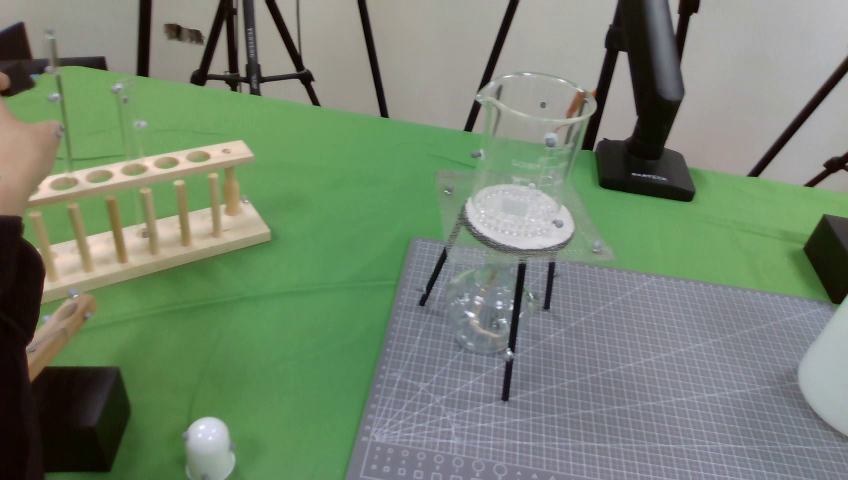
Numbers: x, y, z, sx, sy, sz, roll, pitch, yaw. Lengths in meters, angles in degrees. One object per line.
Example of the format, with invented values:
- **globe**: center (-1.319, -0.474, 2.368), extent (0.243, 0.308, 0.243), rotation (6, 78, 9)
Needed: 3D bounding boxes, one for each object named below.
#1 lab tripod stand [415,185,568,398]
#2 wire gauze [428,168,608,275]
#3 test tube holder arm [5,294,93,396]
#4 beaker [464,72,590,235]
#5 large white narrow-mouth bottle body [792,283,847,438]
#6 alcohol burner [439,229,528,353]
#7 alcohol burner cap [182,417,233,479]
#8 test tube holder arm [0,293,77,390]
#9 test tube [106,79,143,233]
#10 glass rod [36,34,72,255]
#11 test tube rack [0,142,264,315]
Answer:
- **lab tripod stand**: center (0.064, 0.034, 0.508), extent (0.148, 0.132, 0.147), rotation (6, 38, -4)
- **wire gauze**: center (0.067, -0.019, 0.471), extent (0.122, 0.011, 0.123), rotation (0, 41, -8)
- **test tube holder arm**: center (-0.264, 0.071, 0.424), extent (0.010, 0.015, 0.087), rotation (10, 36, 5)
- **beaker**: center (0.068, -0.061, 0.444), extent (0.084, 0.101, 0.073), rotation (5, 39, -3)
- **large white narrow-mouth bottle body**: center (0.377, 0.065, 0.470), extent (0.102, 0.196, 0.101), rotation (4, 37, -3)
- **alcohol burner**: center (0.054, 0.039, 0.517), extent (0.078, 0.120, 0.077), rotation (7, 36, -4)
- **alcohol burner cap**: center (-0.149, 0.142, 0.412), extent (0.034, 0.048, 0.033), rotation (6, 36, -4)
- **test tube holder arm**: center (-0.276, 0.096, 0.389), extent (0.013, 0.015, 0.177), rotation (10, 36, 4)
- **test tube**: center (-0.269, -0.071, 0.553), extent (0.017, 0.151, 0.017), rotation (5, 33, -3)
- **glass rod**: center (-0.315, -0.073, 0.519), extent (0.008, 0.201, 0.008), rotation (8, 28, -4)
- **test tube rack**: center (-0.279, -0.017, 0.562), extent (0.243, 0.086, 0.066), rotation (-18, 44, -30)
